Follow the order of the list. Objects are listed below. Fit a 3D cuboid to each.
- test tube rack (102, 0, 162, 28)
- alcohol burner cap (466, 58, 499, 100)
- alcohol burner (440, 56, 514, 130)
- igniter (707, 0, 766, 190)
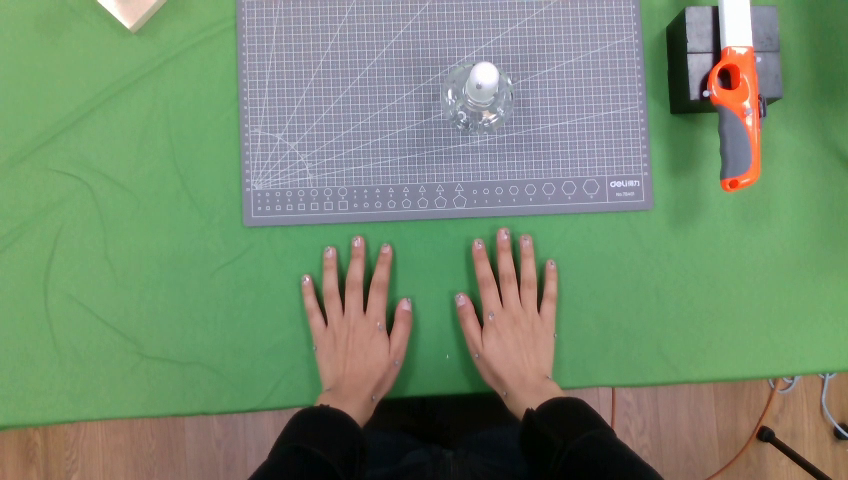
[{"bbox_3d":[-0.261,-0.346,0.632,0.067,0.085,0.242,43,86,2],"label":"test tube rack"},{"bbox_3d":[0.058,-0.156,0.580,0.034,0.048,0.034,0,88,3],"label":"alcohol burner cap"},{"bbox_3d":[0.056,-0.154,0.616,0.078,0.119,0.077,0,85,-3],"label":"alcohol burner"},{"bbox_3d":[0.321,-0.188,0.625,0.057,0.025,0.276,1,85,0],"label":"igniter"}]
